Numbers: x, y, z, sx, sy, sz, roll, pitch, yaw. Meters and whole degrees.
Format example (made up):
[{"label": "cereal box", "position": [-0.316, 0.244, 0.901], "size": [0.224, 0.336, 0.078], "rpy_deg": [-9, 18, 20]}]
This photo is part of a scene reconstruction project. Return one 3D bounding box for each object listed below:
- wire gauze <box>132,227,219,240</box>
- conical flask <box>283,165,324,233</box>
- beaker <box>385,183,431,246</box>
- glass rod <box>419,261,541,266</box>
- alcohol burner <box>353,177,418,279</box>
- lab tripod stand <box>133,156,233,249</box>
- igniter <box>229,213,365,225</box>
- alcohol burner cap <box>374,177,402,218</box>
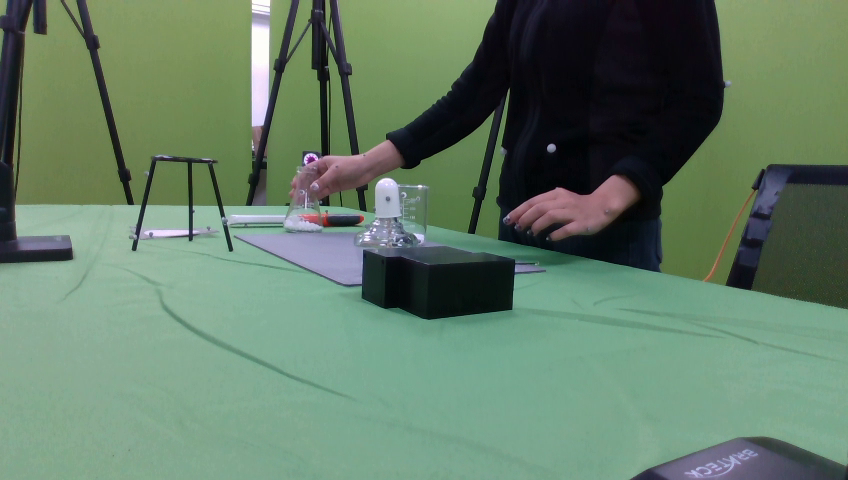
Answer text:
[{"label": "wire gauze", "position": [-0.421, -0.014, 1.024], "size": [0.122, 0.011, 0.124], "rpy_deg": [-2, 7, -34]}, {"label": "conical flask", "position": [-0.223, -0.077, 1.130], "size": [0.075, 0.122, 0.075], "rpy_deg": [4, 8, 0]}, {"label": "beaker", "position": [-0.031, -0.043, 1.000], "size": [0.084, 0.100, 0.074], "rpy_deg": [4, 7, 15]}, {"label": "glass rod", "position": [0.080, 0.031, 0.807], "size": [0.201, 0.008, 0.008], "rpy_deg": [1, 6, -32]}, {"label": "alcohol burner", "position": [-0.044, -0.014, 0.710], "size": [0.078, 0.119, 0.078], "rpy_deg": [4, 9, 0]}, {"label": "lab tripod stand", "position": [-0.342, -0.054, 0.878], "size": [0.148, 0.131, 0.148], "rpy_deg": [4, 6, 0]}, {"label": "igniter", "position": [-0.251, -0.043, 1.226], "size": [0.278, 0.025, 0.057], "rpy_deg": [-2, -3, -32]}, {"label": "alcohol burner cap", "position": [-0.044, -0.049, 0.704], "size": [0.034, 0.048, 0.034], "rpy_deg": [-5, 10, 1]}]
